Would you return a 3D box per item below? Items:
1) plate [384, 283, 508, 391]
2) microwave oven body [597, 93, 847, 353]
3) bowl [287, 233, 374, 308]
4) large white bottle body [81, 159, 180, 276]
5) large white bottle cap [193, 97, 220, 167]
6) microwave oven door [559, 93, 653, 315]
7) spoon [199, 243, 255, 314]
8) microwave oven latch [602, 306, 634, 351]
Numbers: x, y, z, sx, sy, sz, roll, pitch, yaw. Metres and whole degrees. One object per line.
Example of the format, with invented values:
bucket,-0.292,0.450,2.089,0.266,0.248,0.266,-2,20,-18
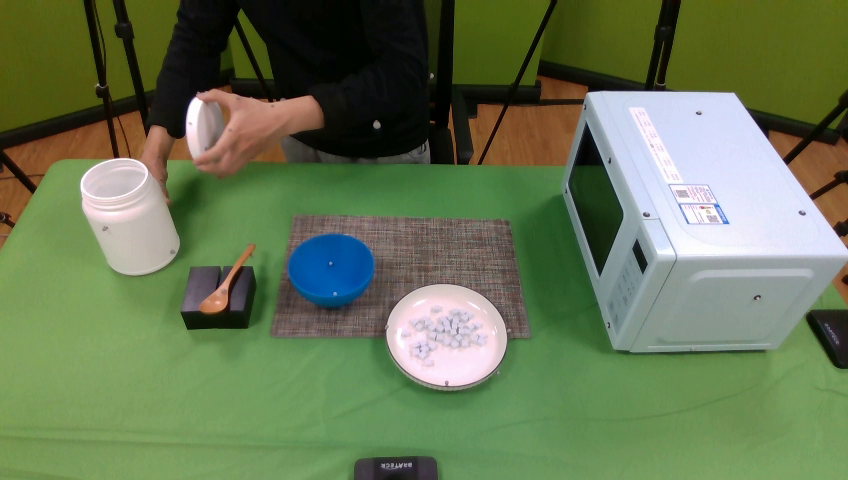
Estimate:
plate,0.036,0.166,1.029,0.209,0.038,0.208,2,49,-2
microwave oven body,0.475,-0.041,1.109,0.326,0.261,0.438,-1,45,-4
bowl,-0.165,0.068,1.078,0.151,0.077,0.150,3,46,-3
large white bottle body,-0.524,-0.041,1.085,0.131,0.185,0.130,2,45,-2
large white bottle cap,-0.359,-0.178,1.003,0.018,0.115,0.114,2,45,-6
microwave oven door,0.327,-0.074,1.123,0.039,0.245,0.353,-1,46,-5
spoon,-0.333,0.062,1.051,0.041,0.022,0.193,6,40,9
microwave oven latch,0.332,0.153,1.044,0.030,0.029,0.078,0,45,-4
